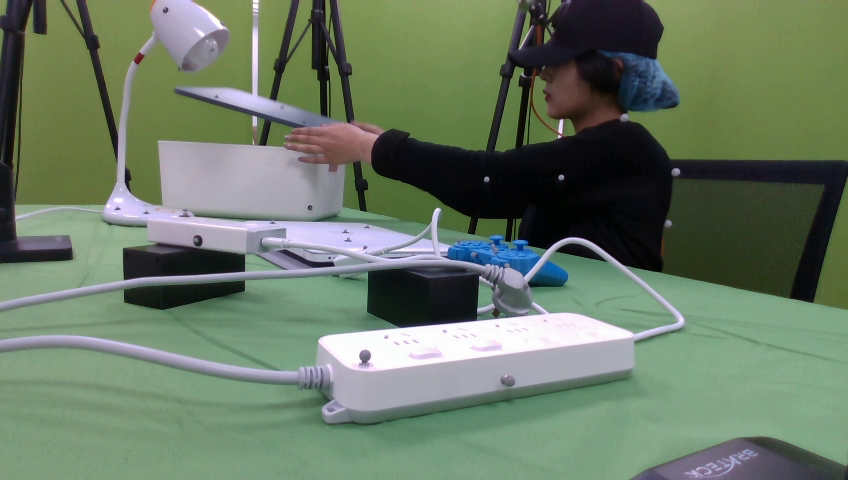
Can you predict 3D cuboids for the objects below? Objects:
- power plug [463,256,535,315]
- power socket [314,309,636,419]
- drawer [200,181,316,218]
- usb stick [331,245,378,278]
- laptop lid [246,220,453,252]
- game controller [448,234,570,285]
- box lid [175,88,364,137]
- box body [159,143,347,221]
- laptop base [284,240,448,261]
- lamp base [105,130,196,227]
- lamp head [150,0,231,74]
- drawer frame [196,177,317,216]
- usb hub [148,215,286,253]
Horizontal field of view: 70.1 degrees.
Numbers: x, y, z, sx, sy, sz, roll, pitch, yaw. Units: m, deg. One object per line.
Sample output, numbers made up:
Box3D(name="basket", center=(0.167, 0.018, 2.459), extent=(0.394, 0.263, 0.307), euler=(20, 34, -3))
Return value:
Box3D(name="power plug", center=(0.064, 0.039, 0.530), extent=(0.072, 0.052, 0.035), euler=(32, 43, 7))
Box3D(name="power socket", center=(0.039, 0.072, 0.385), extent=(0.228, 0.032, 0.072), euler=(-2, 7, -28))
Box3D(name="drawer", center=(-0.373, -0.097, 1.392), extent=(0.212, 0.073, 0.194), euler=(1, 9, 6))
Box3D(name="usb stick", center=(-0.085, 0.026, 0.701), extent=(0.059, 0.027, 0.021), euler=(-19, 17, 26))
Box3D(name="laptop lid", center=(-0.123, -0.009, 0.945), extent=(0.243, 0.013, 0.355), euler=(1, 7, -29))
Box3D(name="game controller", center=(0.099, 0.021, 0.756), extent=(0.097, 0.051, 0.154), euler=(-7, 10, -29))
Box3D(name="box lid", center=(-0.337, -0.293, 1.378), extent=(0.371, 0.015, 0.263), euler=(17, 16, 8))
Box3D(name="box body", center=(-0.384, -0.137, 1.406), extent=(0.364, 0.160, 0.254), euler=(3, 8, 8))
Box3D(name="laptop base", center=(-0.125, 0.002, 0.945), extent=(0.237, 0.023, 0.352), euler=(2, 6, -31))
Box3D(name="lamp base", center=(-0.532, -0.120, 1.153), extent=(0.179, 0.180, 0.161), euler=(1, 7, 8))
Box3D(name="lamp head", center=(-0.432, -0.374, 1.086), extent=(0.123, 0.112, 0.112), euler=(42, 8, -2))
Box3D(name="drawer frame", center=(-0.376, -0.102, 1.392), extent=(0.213, 0.082, 0.202), euler=(1, 7, 6))
Box3D(name="usb hub", center=(-0.197, -0.006, 0.575), extent=(0.125, 0.025, 0.050), euler=(6, 6, 22))
